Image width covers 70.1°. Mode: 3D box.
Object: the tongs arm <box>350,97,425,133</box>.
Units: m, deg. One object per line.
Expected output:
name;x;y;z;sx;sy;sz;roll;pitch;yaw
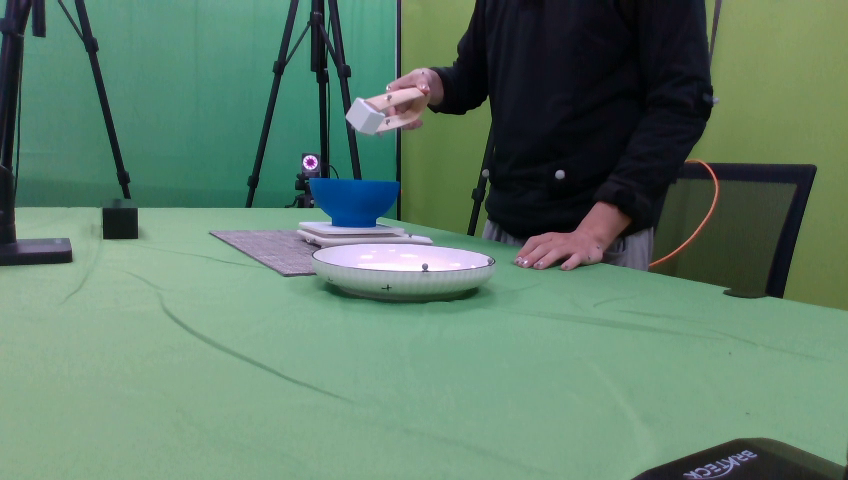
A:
tongs arm;-0.047;-0.203;0.961;0.026;0.050;0.385;32;15;1

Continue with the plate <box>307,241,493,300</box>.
plate;-0.027;0.034;0.684;0.208;0.039;0.207;2;7;0

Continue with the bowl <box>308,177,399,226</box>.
bowl;-0.116;-0.064;1.001;0.151;0.077;0.151;2;6;0

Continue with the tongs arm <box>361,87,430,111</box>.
tongs arm;-0.035;-0.221;0.953;0.028;0.028;0.388;29;19;2

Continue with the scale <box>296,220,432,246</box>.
scale;-0.101;-0.012;1.017;0.202;0.031;0.148;-1;8;-30
